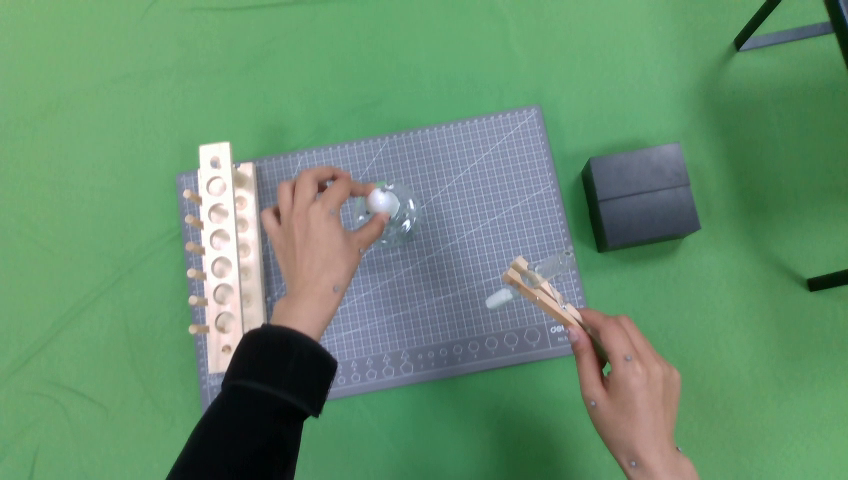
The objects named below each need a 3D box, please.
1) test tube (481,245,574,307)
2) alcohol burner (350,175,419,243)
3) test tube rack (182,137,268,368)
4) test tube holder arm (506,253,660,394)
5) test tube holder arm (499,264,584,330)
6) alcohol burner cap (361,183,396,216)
[{"bbox_3d":[0.086,0.036,0.538,0.017,0.150,0.017,7,68,-18],"label":"test tube"},{"bbox_3d":[-0.045,-0.037,0.659,0.078,0.119,0.077,0,82,3],"label":"alcohol burner"},{"bbox_3d":[-0.227,0.017,0.673,0.067,0.085,0.241,-7,80,1],"label":"test tube rack"},{"bbox_3d":[0.142,0.075,0.537,0.178,0.015,0.013,41,70,-3],"label":"test tube holder arm"},{"bbox_3d":[0.104,0.051,0.532,0.088,0.015,0.010,35,70,-5],"label":"test tube holder arm"},{"bbox_3d":[-0.049,-0.044,0.625,0.034,0.048,0.034,-1,83,6],"label":"alcohol burner cap"}]
